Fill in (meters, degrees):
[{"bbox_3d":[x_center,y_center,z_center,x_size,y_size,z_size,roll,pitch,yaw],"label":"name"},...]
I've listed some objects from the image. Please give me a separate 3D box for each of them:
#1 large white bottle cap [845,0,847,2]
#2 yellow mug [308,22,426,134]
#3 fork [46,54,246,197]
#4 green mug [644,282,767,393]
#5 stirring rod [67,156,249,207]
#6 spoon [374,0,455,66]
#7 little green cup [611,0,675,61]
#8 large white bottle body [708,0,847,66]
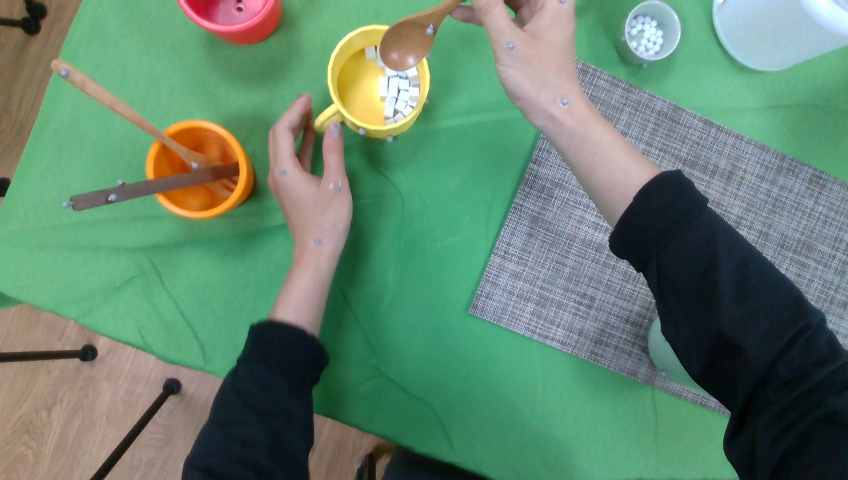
[{"bbox_3d":[0.391,-0.251,0.508,0.115,0.018,0.115,0,94,-5],"label":"large white bottle cap"},{"bbox_3d":[-0.063,-0.153,0.615,0.131,0.064,0.100,-35,96,-1],"label":"yellow mug"},{"bbox_3d":[-0.246,-0.099,0.560,0.028,0.018,0.209,-52,139,-3],"label":"fork"},{"bbox_3d":[0.305,0.096,0.643,0.093,0.105,0.125,39,89,-5],"label":"green mug"},{"bbox_3d":[-0.241,-0.058,0.569,0.176,0.006,0.014,-23,98,-46],"label":"stirring rod"},{"bbox_3d":[0.023,-0.192,0.465,0.042,0.193,0.021,25,59,-29],"label":"spoon"},{"bbox_3d":[0.233,-0.224,0.653,0.061,0.038,0.061,0,94,-4],"label":"little green cup"},{"bbox_3d":[0.385,-0.256,0.592,0.131,0.184,0.130,0,93,-4],"label":"large white bottle body"}]
